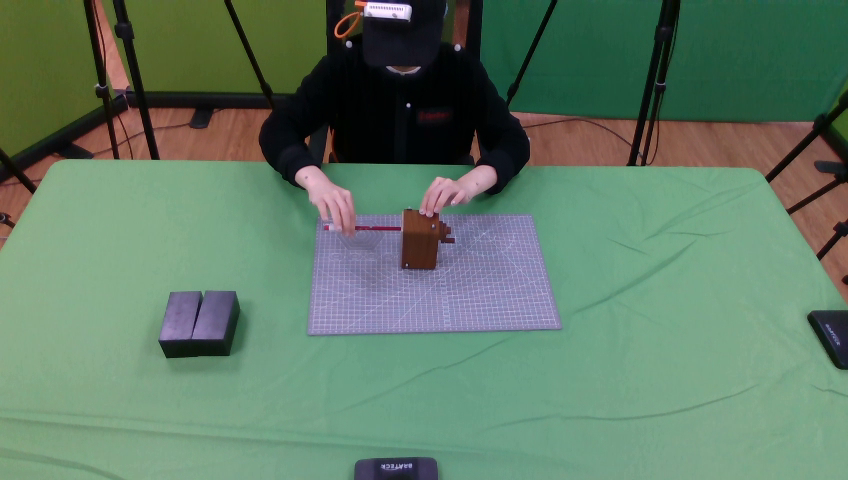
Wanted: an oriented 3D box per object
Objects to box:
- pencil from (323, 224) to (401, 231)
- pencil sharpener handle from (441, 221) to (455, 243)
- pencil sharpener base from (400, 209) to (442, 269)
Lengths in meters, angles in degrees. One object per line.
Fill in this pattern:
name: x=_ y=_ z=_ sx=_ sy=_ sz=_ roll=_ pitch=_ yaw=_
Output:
pencil: x=-0.088 y=-0.021 z=1.114 sx=0.194 sy=0.012 sz=0.012 roll=2 pitch=46 yaw=-2
pencil sharpener handle: x=0.046 y=-0.011 z=1.131 sx=0.030 sy=0.068 sz=0.036 roll=2 pitch=65 yaw=-2
pencil sharpener base: x=-0.006 y=0.000 z=1.134 sx=0.077 sy=0.107 sz=0.061 roll=2 pitch=45 yaw=-2
